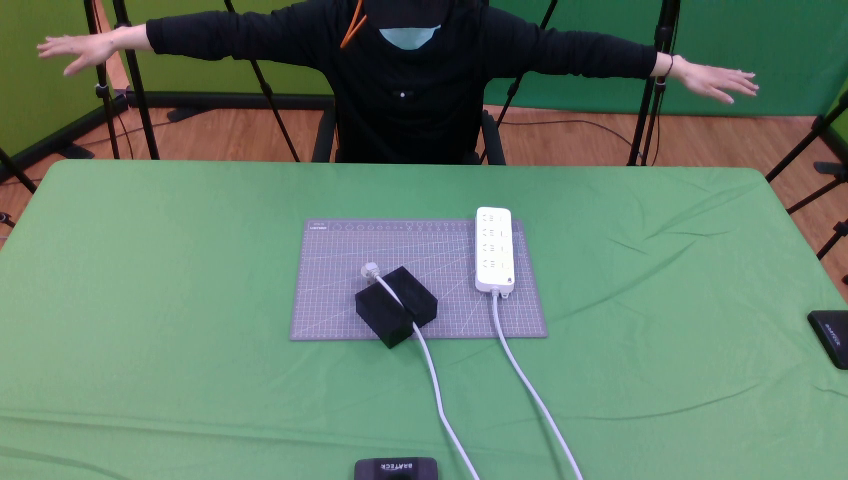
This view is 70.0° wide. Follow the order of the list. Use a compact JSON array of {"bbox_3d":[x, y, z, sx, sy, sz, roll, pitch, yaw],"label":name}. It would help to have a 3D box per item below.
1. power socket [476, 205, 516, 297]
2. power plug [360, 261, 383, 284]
[{"bbox_3d":[0.139,0.013,1.178,0.072,0.033,0.225,4,47,2],"label":"power socket"},{"bbox_3d":[-0.094,0.068,1.092,0.035,0.053,0.072,-9,45,-7],"label":"power plug"}]
